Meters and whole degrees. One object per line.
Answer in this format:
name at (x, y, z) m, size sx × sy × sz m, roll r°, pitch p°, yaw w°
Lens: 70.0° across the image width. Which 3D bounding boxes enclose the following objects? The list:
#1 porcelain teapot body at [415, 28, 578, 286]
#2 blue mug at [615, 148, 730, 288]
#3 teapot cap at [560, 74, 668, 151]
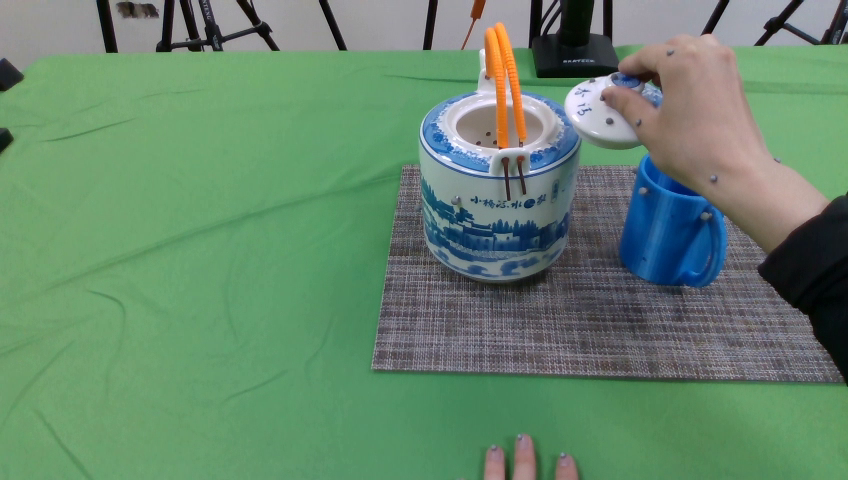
porcelain teapot body at (0.062, -0.095, 0.573) m, size 0.145 × 0.227 × 0.203 m, roll -4°, pitch 42°, yaw -2°
blue mug at (0.235, -0.011, 0.561) m, size 0.082 × 0.107 × 0.115 m, roll -11°, pitch 43°, yaw -8°
teapot cap at (0.151, -0.108, 0.481) m, size 0.085 × 0.044 × 0.084 m, roll 0°, pitch 48°, yaw 1°
